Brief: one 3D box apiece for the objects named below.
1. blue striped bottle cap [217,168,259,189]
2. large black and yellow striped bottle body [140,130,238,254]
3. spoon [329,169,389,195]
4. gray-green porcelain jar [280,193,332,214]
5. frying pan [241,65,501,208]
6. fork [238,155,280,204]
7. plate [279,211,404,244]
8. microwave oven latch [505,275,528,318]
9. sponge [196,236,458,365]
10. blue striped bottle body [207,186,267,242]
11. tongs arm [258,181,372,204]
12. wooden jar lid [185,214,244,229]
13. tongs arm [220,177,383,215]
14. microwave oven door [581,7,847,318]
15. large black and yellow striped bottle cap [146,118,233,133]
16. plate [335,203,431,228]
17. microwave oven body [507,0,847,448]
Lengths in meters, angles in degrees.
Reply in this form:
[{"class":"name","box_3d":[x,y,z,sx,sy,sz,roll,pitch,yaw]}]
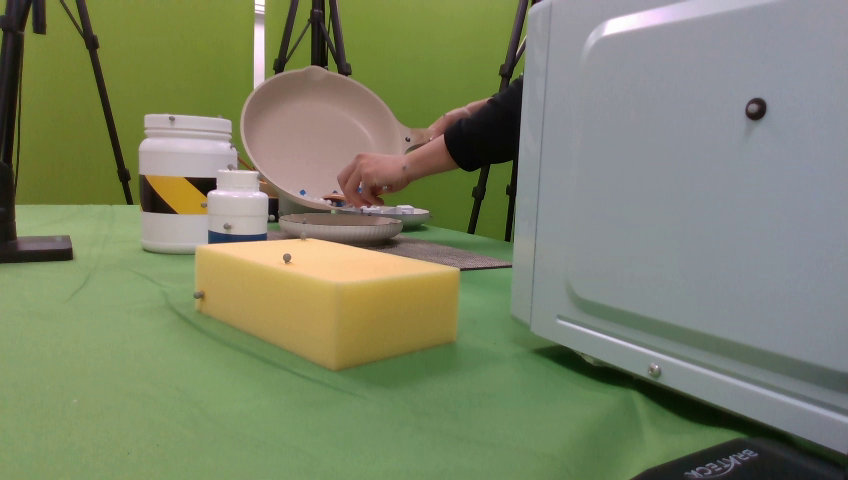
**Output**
[{"class":"blue striped bottle cap","box_3d":[-0.202,-0.067,0.656,0.044,0.020,0.044,0,10,0]},{"class":"large black and yellow striped bottle body","box_3d":[-0.336,-0.078,0.872,0.131,0.184,0.130,2,7,0]},{"class":"spoon","box_3d":[-0.110,-0.089,0.994,0.022,0.041,0.193,-15,19,-28]},{"class":"gray-green porcelain jar","box_3d":[-0.238,-0.092,1.221,0.106,0.126,0.106,2,8,0]},{"class":"frying pan","box_3d":[-0.084,-0.190,1.130,0.489,0.306,0.102,-6,-24,-14]},{"class":"fork","box_3d":[-0.396,-0.143,1.486,0.028,0.018,0.208,20,-26,45]},{"class":"plate","box_3d":[-0.139,-0.022,1.021,0.209,0.038,0.209,2,8,0]},{"class":"microwave oven latch","box_3d":[0.100,0.041,0.472,0.079,0.029,0.030,-2,8,-30]},{"class":"sponge","box_3d":[-0.087,0.039,0.500,0.206,0.061,0.119,8,9,44]},{"class":"blue striped bottle body","box_3d":[-0.204,-0.016,0.663,0.063,0.120,0.063,2,7,0]},{"class":"tongs arm","box_3d":[-0.241,-0.095,1.373,0.387,0.026,0.050,8,0,-37]},{"class":"wooden jar lid","box_3d":[-0.404,-0.037,1.169,0.108,0.020,0.108,3,7,0]},{"class":"tongs arm","box_3d":[-0.285,-0.104,1.445,0.389,0.027,0.028,9,-4,-23]},{"class":"microwave oven door","box_3d":[0.295,-0.067,0.569,0.358,0.243,0.039,-3,8,-31]},{"class":"large black and yellow striped bottle cap","box_3d":[-0.333,-0.163,0.861,0.115,0.019,0.115,1,9,0]},{"class":"plate","box_3d":[-0.089,-0.053,1.309,0.208,0.039,0.207,2,8,0]},{"class":"microwave oven body","box_3d":[0.331,-0.042,0.425,0.444,0.260,0.324,-2,8,-31]}]
